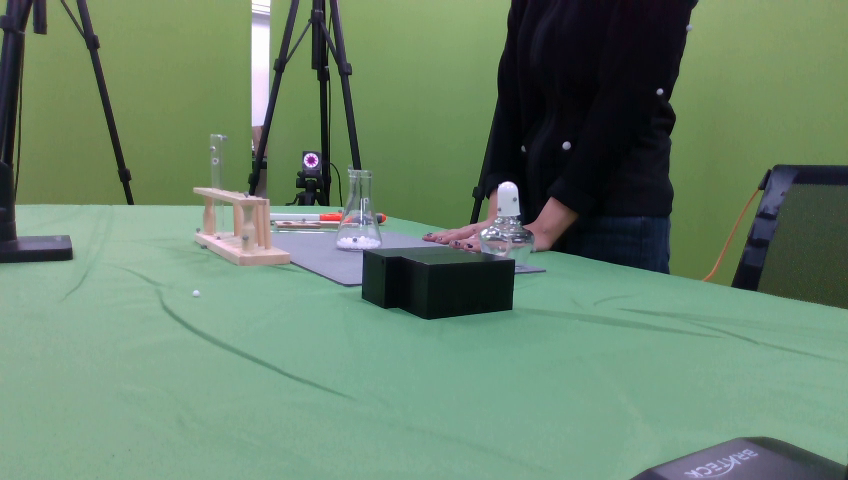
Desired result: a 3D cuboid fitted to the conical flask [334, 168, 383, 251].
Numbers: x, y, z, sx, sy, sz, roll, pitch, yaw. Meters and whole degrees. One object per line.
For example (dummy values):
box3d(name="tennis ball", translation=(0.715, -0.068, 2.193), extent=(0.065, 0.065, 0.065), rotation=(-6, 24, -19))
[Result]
box3d(name="conical flask", translation=(-0.098, -0.047, 0.920), extent=(0.075, 0.122, 0.075), rotation=(3, 7, 0))

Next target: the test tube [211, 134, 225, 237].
box3d(name="test tube", translation=(-0.300, -0.078, 0.881), extent=(0.017, 0.150, 0.017), rotation=(3, 11, 0))

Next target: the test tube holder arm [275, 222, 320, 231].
box3d(name="test tube holder arm", translation=(-0.238, -0.026, 1.145), extent=(0.088, 0.015, 0.010), rotation=(-4, 47, -39))

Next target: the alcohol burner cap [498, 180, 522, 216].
box3d(name="alcohol burner cap", translation=(0.114, -0.056, 0.810), extent=(0.034, 0.048, 0.034), rotation=(-5, 12, 1))

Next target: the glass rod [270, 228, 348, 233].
box3d(name="glass rod", translation=(-0.234, -0.017, 1.104), extent=(0.201, 0.008, 0.008), rotation=(1, 7, -26))

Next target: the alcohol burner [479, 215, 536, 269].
box3d(name="alcohol burner", translation=(0.114, -0.021, 0.816), extent=(0.078, 0.119, 0.078), rotation=(2, 9, 0))

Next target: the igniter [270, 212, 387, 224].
box3d(name="igniter", translation=(-0.213, -0.047, 1.278), extent=(0.278, 0.025, 0.057), rotation=(-1, -2, -25))

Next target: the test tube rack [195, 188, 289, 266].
box3d(name="test tube rack", translation=(-0.266, -0.025, 0.864), extent=(0.067, 0.085, 0.241), rotation=(-2, 9, -33))

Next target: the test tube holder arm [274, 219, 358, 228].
box3d(name="test tube holder arm", translation=(-0.206, -0.032, 1.177), extent=(0.179, 0.015, 0.013), rotation=(-5, 47, -40))
